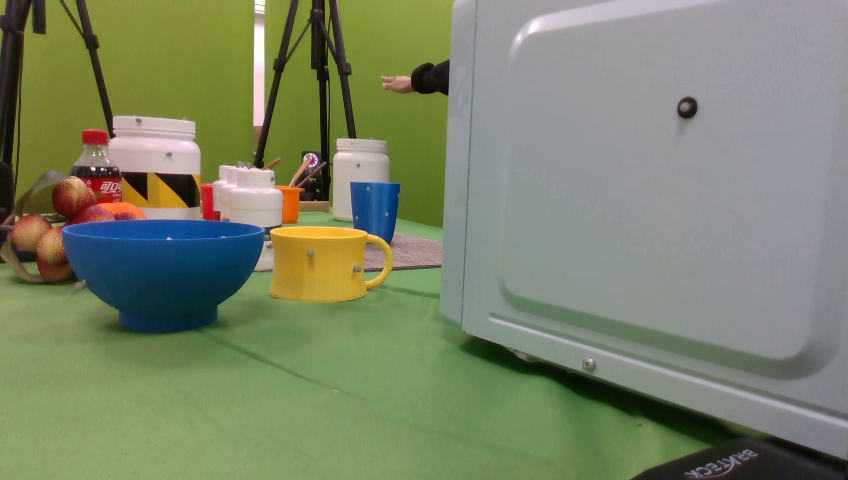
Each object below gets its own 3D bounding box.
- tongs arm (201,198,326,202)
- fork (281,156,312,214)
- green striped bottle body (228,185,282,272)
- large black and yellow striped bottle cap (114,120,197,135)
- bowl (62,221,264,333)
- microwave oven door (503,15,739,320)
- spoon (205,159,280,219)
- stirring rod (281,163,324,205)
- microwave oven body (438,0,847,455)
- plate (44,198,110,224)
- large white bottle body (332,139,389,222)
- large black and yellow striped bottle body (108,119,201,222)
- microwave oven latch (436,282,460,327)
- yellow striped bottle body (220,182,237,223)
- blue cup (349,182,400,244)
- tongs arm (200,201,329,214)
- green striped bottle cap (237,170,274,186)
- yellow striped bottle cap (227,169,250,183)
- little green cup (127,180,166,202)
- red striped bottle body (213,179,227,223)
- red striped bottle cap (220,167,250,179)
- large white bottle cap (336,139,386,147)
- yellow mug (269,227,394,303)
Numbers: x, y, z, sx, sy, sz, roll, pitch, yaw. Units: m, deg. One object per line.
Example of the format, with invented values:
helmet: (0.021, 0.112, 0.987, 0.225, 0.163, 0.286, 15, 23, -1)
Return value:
tongs arm: (-0.433, -0.089, 1.508, 0.390, 0.028, 0.028, -1, 2, -29)
fork: (-0.289, -0.116, 1.320, 0.028, 0.019, 0.207, 0, 49, 25)
green striped bottle body: (-0.208, -0.023, 0.745, 0.063, 0.119, 0.063, 3, 7, 0)
large black and yellow striped bottle cap: (-0.407, -0.171, 0.920, 0.115, 0.019, 0.115, 2, 9, 0)
bowl: (-0.209, 0.029, 0.496, 0.151, 0.077, 0.151, 2, 7, 0)
microwave oven door: (0.218, -0.065, 0.600, 0.358, 0.243, 0.039, -4, 10, -41)
spoon: (-0.365, -0.103, 1.214, 0.193, 0.021, 0.041, -42, 4, 6)
stirring rod: (-0.278, -0.105, 1.294, 0.176, 0.006, 0.014, -47, 25, -18)
microwave oven body: (0.280, -0.039, 0.464, 0.444, 0.260, 0.324, -3, 8, -41)
plate: (-0.617, -0.056, 1.179, 0.209, 0.038, 0.209, 3, 7, 0)
large white bottle body: (-0.145, -0.136, 1.387, 0.131, 0.184, 0.130, 2, 7, 0)
large black and yellow striped bottle body: (-0.412, -0.088, 0.930, 0.131, 0.184, 0.130, 3, 7, 0)
microwave oven latch: (0.045, 0.046, 0.471, 0.079, 0.029, 0.030, -3, 8, -41)
yellow striped bottle body: (-0.246, -0.036, 0.825, 0.063, 0.120, 0.063, 3, 8, 0)
blue cup: (-0.083, -0.046, 1.009, 0.093, 0.100, 0.092, 1, 6, 0)
tongs arm: (-0.378, -0.079, 1.440, 0.387, 0.026, 0.050, -4, 7, -44)
green striped bottle cap: (-0.205, -0.075, 0.737, 0.044, 0.020, 0.044, 1, 6, 0)
yellow striped bottle cap: (-0.243, -0.086, 0.818, 0.044, 0.018, 0.044, 3, 6, 0)
little green cup: (-0.485, -0.086, 1.061, 0.061, 0.038, 0.061, 1, 7, 0)
red striped bottle body: (-0.284, -0.048, 0.909, 0.063, 0.119, 0.063, 3, 11, 0)
red striped bottle cap: (-0.281, -0.100, 0.901, 0.044, 0.017, 0.044, 0, 5, 0)
large white bottle cap: (-0.143, -0.219, 1.375, 0.115, 0.018, 0.115, 2, 8, 0)
yellow mug: (-0.094, 0.023, 0.629, 0.131, 0.064, 0.099, 0, 7, -22)
